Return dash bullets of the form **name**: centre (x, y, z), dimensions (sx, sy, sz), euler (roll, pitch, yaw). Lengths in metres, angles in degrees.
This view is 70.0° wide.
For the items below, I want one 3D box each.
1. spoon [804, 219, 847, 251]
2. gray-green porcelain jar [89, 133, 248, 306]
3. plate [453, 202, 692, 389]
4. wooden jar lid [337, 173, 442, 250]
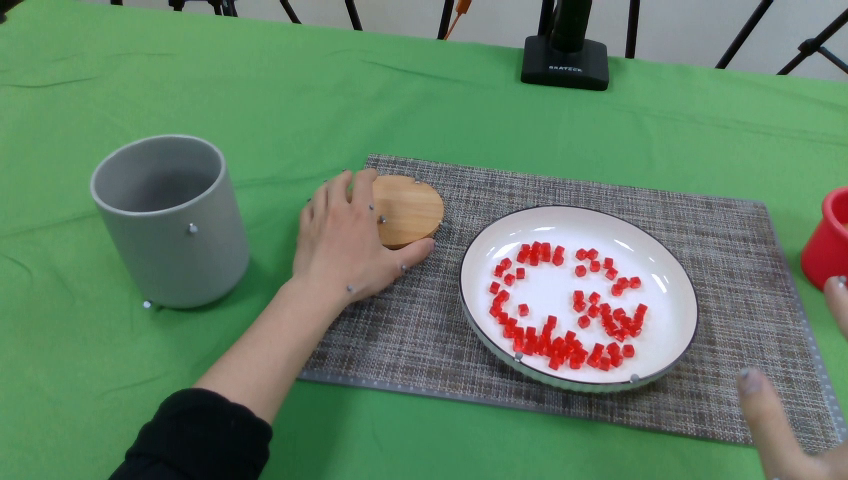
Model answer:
- **spoon**: centre (0.447, -0.016, 0.544), dimensions (0.193, 0.022, 0.041), euler (-12, 25, 46)
- **gray-green porcelain jar**: centre (-0.217, -0.012, 0.534), dimensions (0.106, 0.127, 0.105), euler (2, 46, -1)
- **plate**: centre (0.129, 0.047, 0.547), dimensions (0.208, 0.039, 0.205), euler (1, 46, -1)
- **wooden jar lid**: centre (-0.035, -0.029, 0.628), dimensions (0.108, 0.021, 0.107), euler (2, 45, -2)
